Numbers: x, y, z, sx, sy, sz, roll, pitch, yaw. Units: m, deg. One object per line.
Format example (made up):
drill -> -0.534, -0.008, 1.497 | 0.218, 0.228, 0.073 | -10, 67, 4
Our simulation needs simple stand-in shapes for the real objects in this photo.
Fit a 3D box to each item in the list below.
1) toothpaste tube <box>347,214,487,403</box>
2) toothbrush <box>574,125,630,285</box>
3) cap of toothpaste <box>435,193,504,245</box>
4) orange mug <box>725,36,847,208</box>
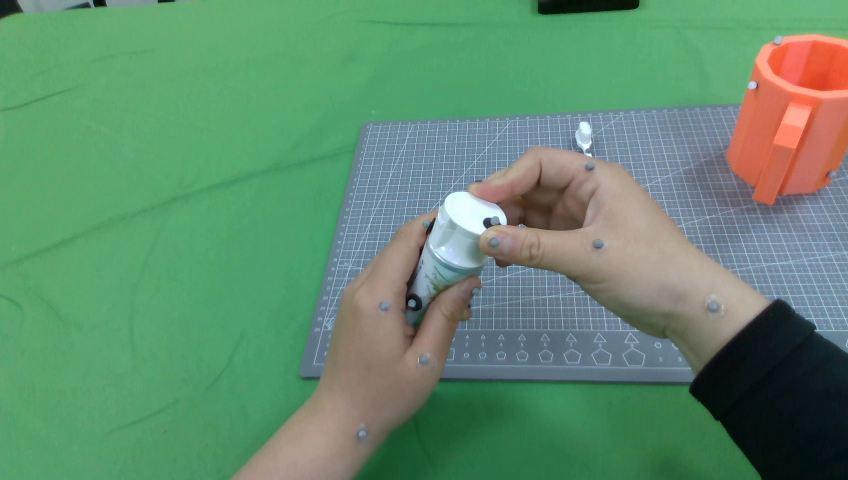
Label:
toothpaste tube -> -0.003, 0.047, 0.362 | 0.055, 0.166, 0.034 | 2, 42, -24
toothbrush -> 0.149, -0.037, 0.510 | 0.014, 0.017, 0.180 | 3, 49, -4
cap of toothpaste -> 0.024, -0.010, 0.314 | 0.037, 0.011, 0.037 | 15, 39, -12
orange mug -> 0.291, -0.087, 0.478 | 0.083, 0.102, 0.126 | 22, 51, 27
